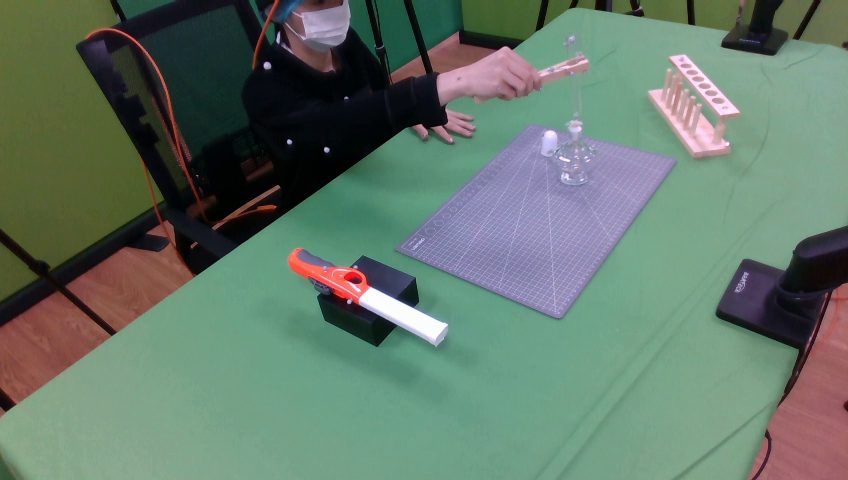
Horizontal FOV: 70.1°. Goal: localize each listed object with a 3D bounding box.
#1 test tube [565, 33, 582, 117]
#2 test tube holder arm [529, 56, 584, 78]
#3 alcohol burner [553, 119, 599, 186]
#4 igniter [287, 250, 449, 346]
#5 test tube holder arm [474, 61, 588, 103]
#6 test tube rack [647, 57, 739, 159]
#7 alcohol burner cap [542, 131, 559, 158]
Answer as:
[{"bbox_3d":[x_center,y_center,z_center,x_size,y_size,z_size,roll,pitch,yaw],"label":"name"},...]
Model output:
[{"bbox_3d":[0.233,-0.253,0.941,0.017,0.151,0.017,-10,47,11],"label":"test tube"},{"bbox_3d":[0.205,-0.261,0.930,0.088,0.015,0.010,-22,46,-2],"label":"test tube holder arm"},{"bbox_3d":[0.261,-0.153,1.042,0.078,0.119,0.077,-6,40,6],"label":"alcohol burner"},{"bbox_3d":[-0.087,0.073,0.825,0.274,0.025,0.057,23,48,27],"label":"igniter"},{"bbox_3d":[0.163,-0.243,0.928,0.178,0.015,0.013,-16,46,3],"label":"test tube holder arm"},{"bbox_3d":[0.504,-0.257,1.153,0.067,0.085,0.241,-8,40,1],"label":"test tube rack"},{"bbox_3d":[0.237,-0.180,1.134,0.034,0.048,0.033,-5,41,5],"label":"alcohol burner cap"}]
